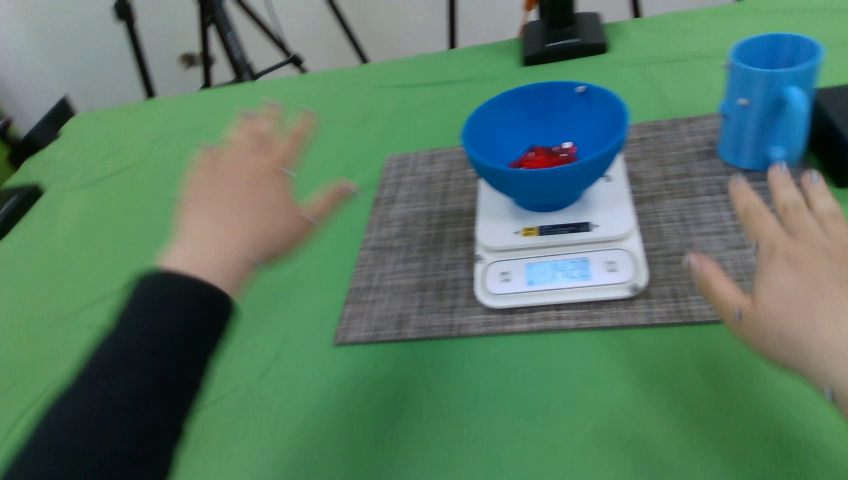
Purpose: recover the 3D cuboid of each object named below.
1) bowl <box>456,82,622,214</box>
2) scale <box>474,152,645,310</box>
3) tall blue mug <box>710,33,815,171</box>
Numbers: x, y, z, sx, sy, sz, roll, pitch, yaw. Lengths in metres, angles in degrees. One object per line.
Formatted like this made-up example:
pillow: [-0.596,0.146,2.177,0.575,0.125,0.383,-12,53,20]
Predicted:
bowl: [0.111,-0.078,0.575,0.151,0.077,0.150,-9,41,8]
scale: [0.123,-0.019,0.587,0.148,0.032,0.199,-6,42,12]
tall blue mug: [0.331,-0.125,0.577,0.078,0.109,0.106,-26,41,-12]
